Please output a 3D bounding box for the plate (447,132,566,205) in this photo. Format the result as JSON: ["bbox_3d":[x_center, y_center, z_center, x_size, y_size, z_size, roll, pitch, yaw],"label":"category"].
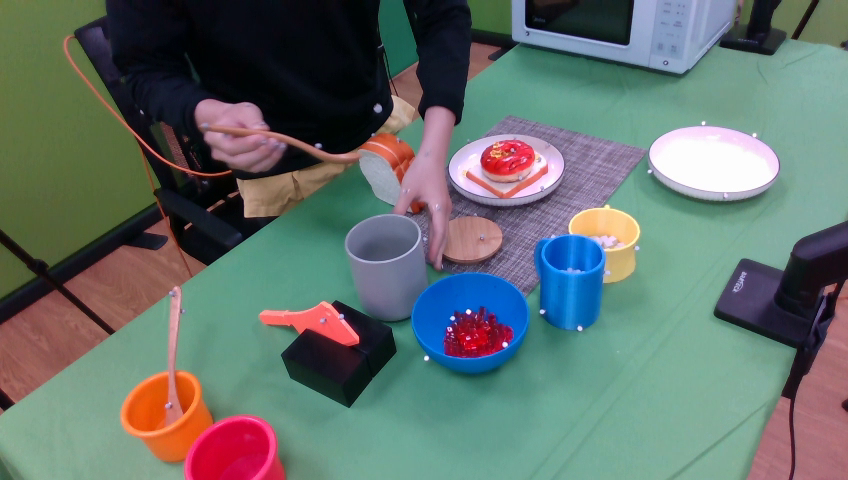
[{"bbox_3d":[0.146,-0.124,1.076,0.209,0.038,0.208,-3,41,3],"label":"plate"}]

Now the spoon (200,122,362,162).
[{"bbox_3d":[-0.162,-0.116,0.712,0.195,0.021,0.041,11,8,-33],"label":"spoon"}]

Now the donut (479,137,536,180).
[{"bbox_3d":[0.145,-0.144,1.056,0.099,0.048,0.098,-6,42,6],"label":"donut"}]

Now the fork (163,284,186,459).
[{"bbox_3d":[-0.302,0.157,0.733,0.028,0.019,0.207,-3,84,16],"label":"fork"}]

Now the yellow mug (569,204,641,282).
[{"bbox_3d":[0.268,-0.005,0.904,0.099,0.064,0.130,7,41,15],"label":"yellow mug"}]

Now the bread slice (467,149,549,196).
[{"bbox_3d":[0.156,-0.128,1.085,0.132,0.019,0.104,-34,48,-23],"label":"bread slice"}]

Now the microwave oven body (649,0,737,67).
[{"bbox_3d":[0.475,-0.602,1.411,0.438,0.261,0.327,23,50,32],"label":"microwave oven body"}]

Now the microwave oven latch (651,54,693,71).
[{"bbox_3d":[0.531,-0.386,1.301,0.078,0.029,0.030,26,51,33],"label":"microwave oven latch"}]

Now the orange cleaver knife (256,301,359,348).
[{"bbox_3d":[-0.160,0.115,0.813,0.210,0.077,0.012,-9,29,48],"label":"orange cleaver knife"}]

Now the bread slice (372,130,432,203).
[{"bbox_3d":[-0.041,-0.127,1.039,0.106,0.135,0.018,29,62,33],"label":"bread slice"}]

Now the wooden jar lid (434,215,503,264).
[{"bbox_3d":[0.070,0.001,0.956,0.108,0.021,0.108,-4,40,4],"label":"wooden jar lid"}]

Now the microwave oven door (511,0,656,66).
[{"bbox_3d":[0.351,-0.539,1.348,0.353,0.245,0.039,24,50,31],"label":"microwave oven door"}]

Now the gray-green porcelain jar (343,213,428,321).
[{"bbox_3d":[-0.049,0.042,0.849,0.106,0.127,0.105,-4,41,4],"label":"gray-green porcelain jar"}]

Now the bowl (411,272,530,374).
[{"bbox_3d":[0.061,0.120,0.780,0.151,0.077,0.150,-4,40,4],"label":"bowl"}]

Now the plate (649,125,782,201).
[{"bbox_3d":[0.493,-0.127,1.036,0.207,0.039,0.206,-4,41,4],"label":"plate"}]

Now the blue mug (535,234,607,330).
[{"bbox_3d":[0.190,0.048,0.824,0.082,0.106,0.115,-26,44,-20],"label":"blue mug"}]
